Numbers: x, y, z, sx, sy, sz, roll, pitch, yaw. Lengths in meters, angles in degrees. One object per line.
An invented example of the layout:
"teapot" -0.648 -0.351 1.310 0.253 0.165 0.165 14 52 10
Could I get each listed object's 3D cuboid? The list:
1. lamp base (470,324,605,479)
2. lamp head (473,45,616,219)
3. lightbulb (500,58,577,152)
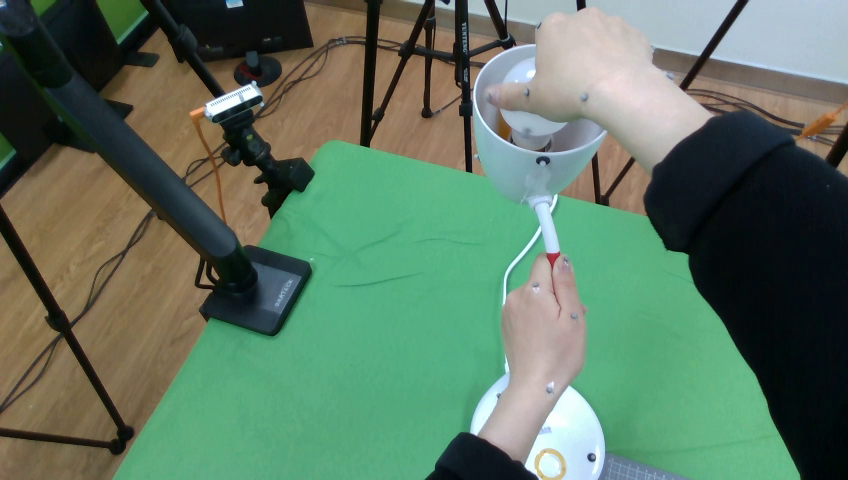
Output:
"lamp base" 0.127 0.183 0.670 0.161 0.182 0.177 -21 55 -12
"lamp head" 0.095 -0.081 0.517 0.112 0.124 0.111 0 57 1
"lightbulb" 0.090 -0.100 0.493 0.059 0.108 0.059 -1 64 3
